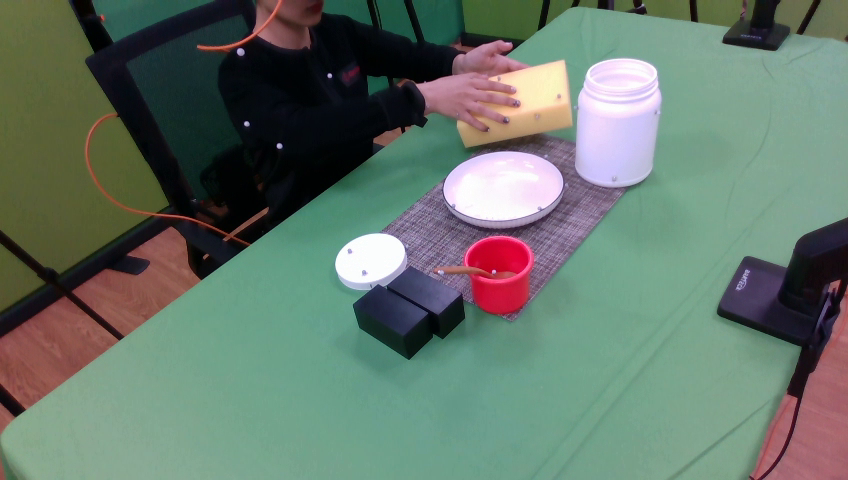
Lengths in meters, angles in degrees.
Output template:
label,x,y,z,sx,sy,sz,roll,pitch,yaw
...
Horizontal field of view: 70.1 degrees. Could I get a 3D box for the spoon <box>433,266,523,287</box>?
label,x,y,z,sx,sy,sz,roll,pitch,yaw
spoon,0.074,0.045,0.815,0.041,0.021,0.195,33,12,38

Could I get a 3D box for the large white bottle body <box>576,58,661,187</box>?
label,x,y,z,sx,sy,sz,roll,pitch,yaw
large white bottle body,0.326,-0.197,1.021,0.130,0.185,0.130,-5,40,5

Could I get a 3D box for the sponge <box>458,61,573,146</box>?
label,x,y,z,sx,sy,sz,roll,pitch,yaw
sponge,0.171,-0.257,1.146,0.206,0.061,0.117,-9,54,16

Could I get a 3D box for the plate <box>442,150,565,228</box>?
label,x,y,z,sx,sy,sz,roll,pitch,yaw
plate,0.136,-0.084,1.039,0.209,0.038,0.208,-5,40,5

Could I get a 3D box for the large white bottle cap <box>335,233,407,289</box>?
label,x,y,z,sx,sy,sz,roll,pitch,yaw
large white bottle cap,-0.085,0.032,0.961,0.115,0.018,0.114,-6,41,6
